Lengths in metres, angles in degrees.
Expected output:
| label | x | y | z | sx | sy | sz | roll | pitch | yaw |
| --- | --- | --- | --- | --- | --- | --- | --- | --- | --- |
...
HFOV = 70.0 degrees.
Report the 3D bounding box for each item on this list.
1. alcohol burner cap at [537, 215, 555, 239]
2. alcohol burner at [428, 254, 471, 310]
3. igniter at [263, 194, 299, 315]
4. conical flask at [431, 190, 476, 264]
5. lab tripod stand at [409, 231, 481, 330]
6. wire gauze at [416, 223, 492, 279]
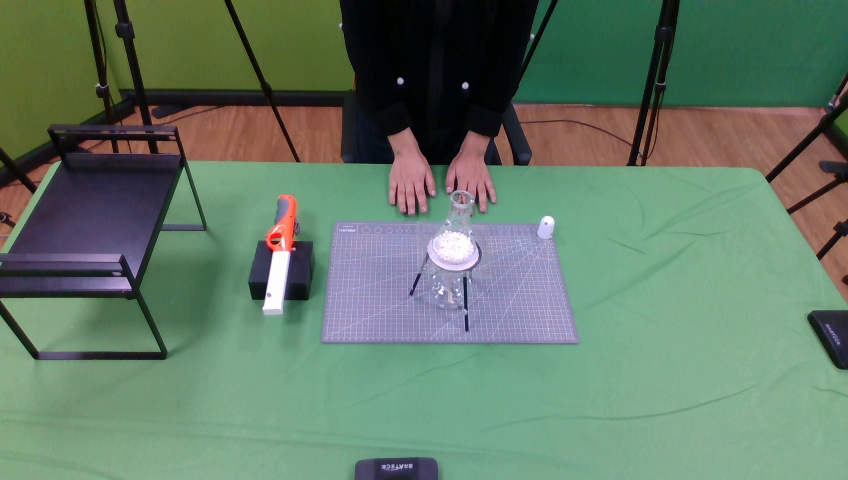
| label | x | y | z | sx | sy | sz | roll | pitch | yaw |
| --- | --- | --- | --- | --- | --- | --- | --- | --- | --- |
| alcohol burner cap | 0.249 | -0.029 | 1.228 | 0.034 | 0.048 | 0.033 | 2 | 48 | -1 |
| alcohol burner | 0.046 | 0.068 | 1.069 | 0.078 | 0.119 | 0.077 | 3 | 45 | -3 |
| igniter | -0.259 | 0.016 | 1.093 | 0.057 | 0.025 | 0.274 | -3 | 49 | -2 |
| conical flask | 0.052 | -0.025 | 0.971 | 0.075 | 0.122 | 0.075 | 3 | 48 | -3 |
| lab tripod stand | 0.051 | 0.064 | 1.060 | 0.148 | 0.132 | 0.147 | 4 | 46 | -4 |
| wire gauze | 0.048 | 0.016 | 1.014 | 0.125 | 0.011 | 0.120 | 1 | 45 | -1 |
